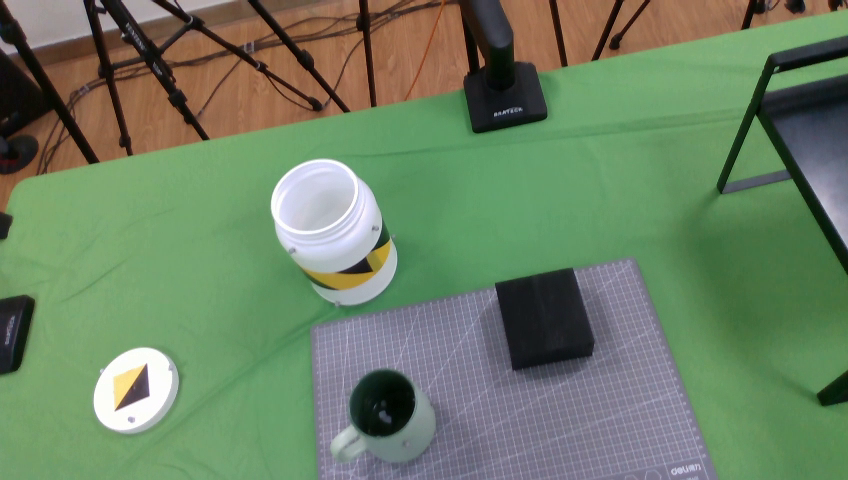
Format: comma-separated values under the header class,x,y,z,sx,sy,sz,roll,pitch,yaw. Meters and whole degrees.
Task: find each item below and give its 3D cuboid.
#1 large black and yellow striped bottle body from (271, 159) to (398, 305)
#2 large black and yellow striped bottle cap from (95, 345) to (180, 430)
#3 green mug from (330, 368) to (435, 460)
class,x,y,z,sx,sy,sz,roll,pitch,yaw
large black and yellow striped bottle body,-0.115,-0.008,0.796,0.130,0.186,0.129,-5,59,8
large black and yellow striped bottle cap,-0.391,0.200,0.827,0.115,0.019,0.114,-5,59,8
green mug,-0.051,0.212,0.703,0.125,0.106,0.091,-35,61,-10
